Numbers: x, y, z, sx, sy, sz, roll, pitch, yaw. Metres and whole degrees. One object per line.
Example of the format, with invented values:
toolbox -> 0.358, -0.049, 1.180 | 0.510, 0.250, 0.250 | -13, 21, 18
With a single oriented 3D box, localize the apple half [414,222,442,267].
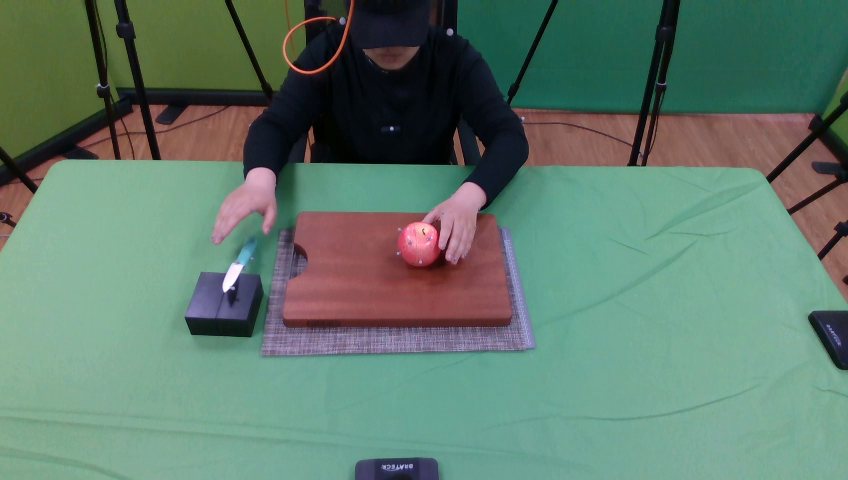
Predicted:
apple half -> 0.006, 0.009, 1.115 | 0.053, 0.075, 0.080 | 0, 43, -9

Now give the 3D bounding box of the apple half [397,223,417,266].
apple half -> -0.033, 0.010, 1.109 | 0.033, 0.081, 0.081 | 0, 46, -9

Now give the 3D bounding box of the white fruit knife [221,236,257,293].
white fruit knife -> -0.333, 0.043, 1.094 | 0.027, 0.016, 0.206 | 1, 27, -2
